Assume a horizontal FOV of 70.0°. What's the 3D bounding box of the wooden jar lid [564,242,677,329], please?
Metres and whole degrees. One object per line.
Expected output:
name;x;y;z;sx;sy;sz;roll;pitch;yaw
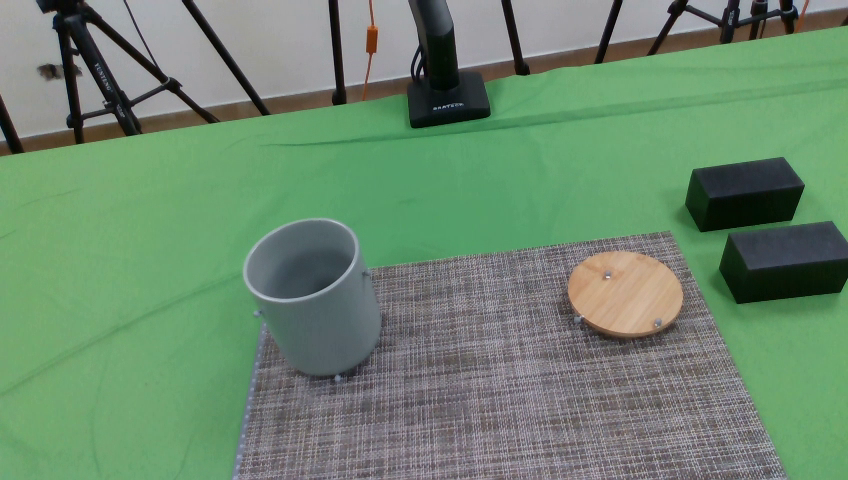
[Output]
wooden jar lid;0.195;0.046;0.607;0.108;0.021;0.107;-5;46;6

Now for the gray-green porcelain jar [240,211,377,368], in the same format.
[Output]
gray-green porcelain jar;-0.104;0.053;0.580;0.106;0.128;0.105;-5;45;5
